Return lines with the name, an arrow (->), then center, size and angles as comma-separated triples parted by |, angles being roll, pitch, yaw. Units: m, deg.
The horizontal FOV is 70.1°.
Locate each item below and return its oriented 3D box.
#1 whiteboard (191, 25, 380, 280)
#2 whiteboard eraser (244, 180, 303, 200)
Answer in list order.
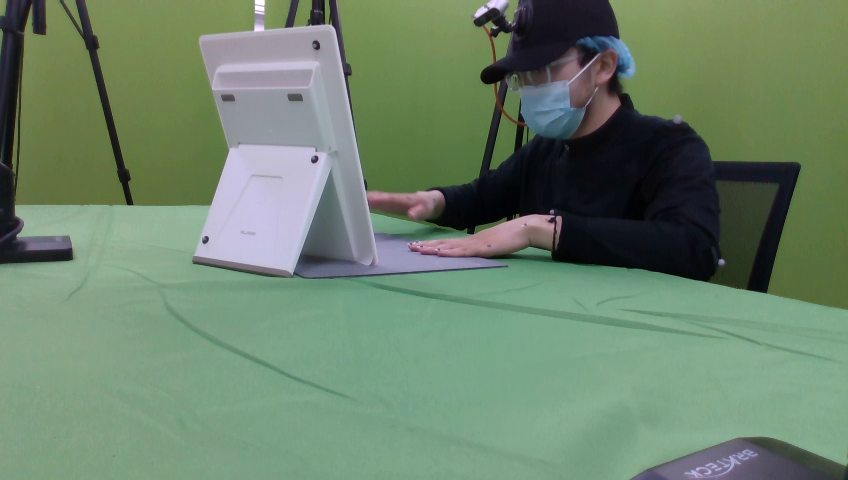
whiteboard -> -0.205, -0.085, 0.734 | 0.216, 0.305, 0.144 | 7, 30, 30
whiteboard eraser -> -0.318, -0.106, 1.277 | 0.113, 0.042, 0.055 | -6, 15, -36
